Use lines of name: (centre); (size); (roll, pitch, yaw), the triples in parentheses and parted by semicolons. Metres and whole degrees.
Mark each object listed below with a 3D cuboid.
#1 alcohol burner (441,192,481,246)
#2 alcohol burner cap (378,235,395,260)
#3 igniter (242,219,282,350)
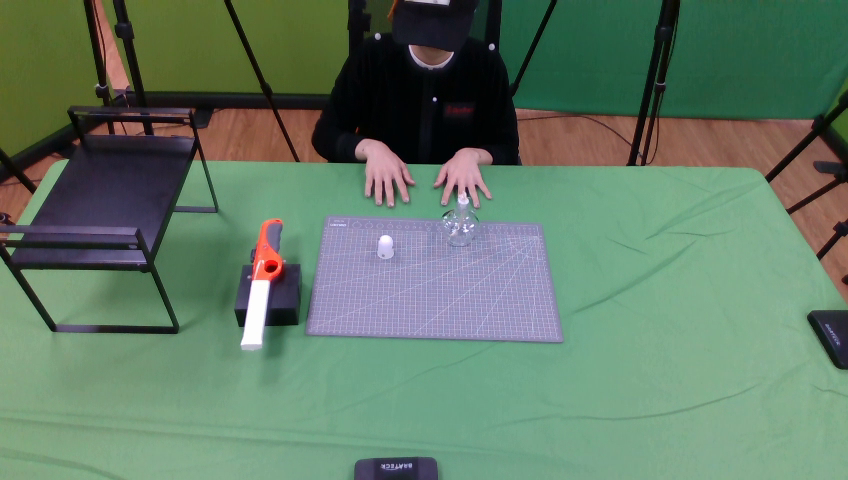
alcohol burner: (0.073, -0.046, 1.176); (0.078, 0.119, 0.077); (2, 44, -2)
alcohol burner cap: (-0.072, 0.012, 1.160); (0.034, 0.048, 0.033); (0, 46, 0)
igniter: (-0.277, 0.065, 1.044); (0.057, 0.025, 0.274); (1, 48, -6)
